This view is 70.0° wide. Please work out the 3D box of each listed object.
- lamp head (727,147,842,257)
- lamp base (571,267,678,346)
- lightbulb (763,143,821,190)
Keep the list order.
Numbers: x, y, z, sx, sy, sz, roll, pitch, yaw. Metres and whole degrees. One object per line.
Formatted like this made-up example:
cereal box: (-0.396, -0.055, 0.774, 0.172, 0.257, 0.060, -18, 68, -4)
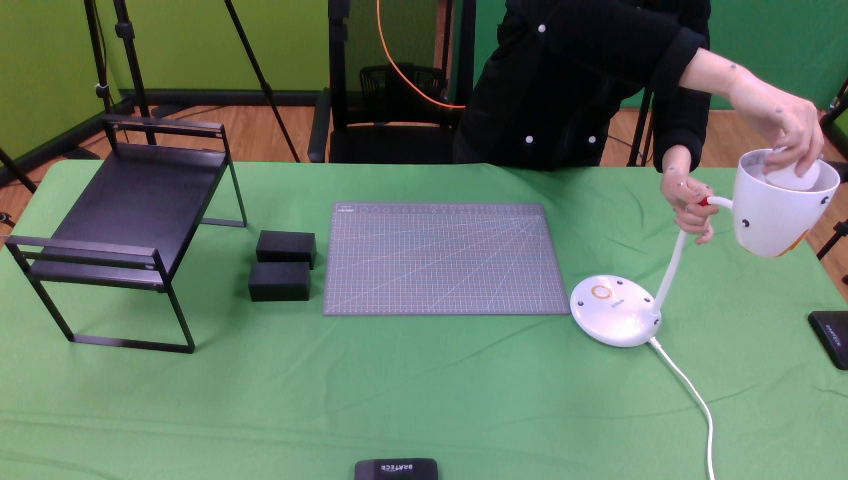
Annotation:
lamp head: (0.435, -0.043, 0.758, 0.112, 0.123, 0.111, 1, 40, 0)
lamp base: (0.359, 0.077, 1.038, 0.160, 0.181, 0.178, -34, 59, -31)
lightbulb: (0.440, -0.066, 0.737, 0.059, 0.108, 0.059, 0, 33, 0)
